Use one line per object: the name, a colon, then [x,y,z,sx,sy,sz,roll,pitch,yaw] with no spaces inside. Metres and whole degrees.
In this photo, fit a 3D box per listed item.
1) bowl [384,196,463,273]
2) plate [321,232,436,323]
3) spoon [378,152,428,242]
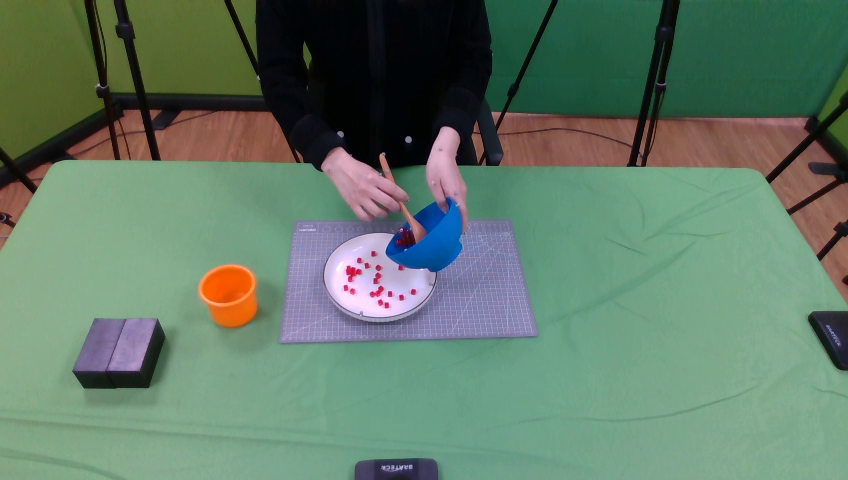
bowl: [0.013,0.003,1.041,0.077,0.151,0.151,49,48,-17]
plate: [-0.083,0.070,1.109,0.209,0.038,0.208,3,46,-2]
spoon: [-0.035,-0.059,1.026,0.021,0.194,0.041,-16,19,40]
